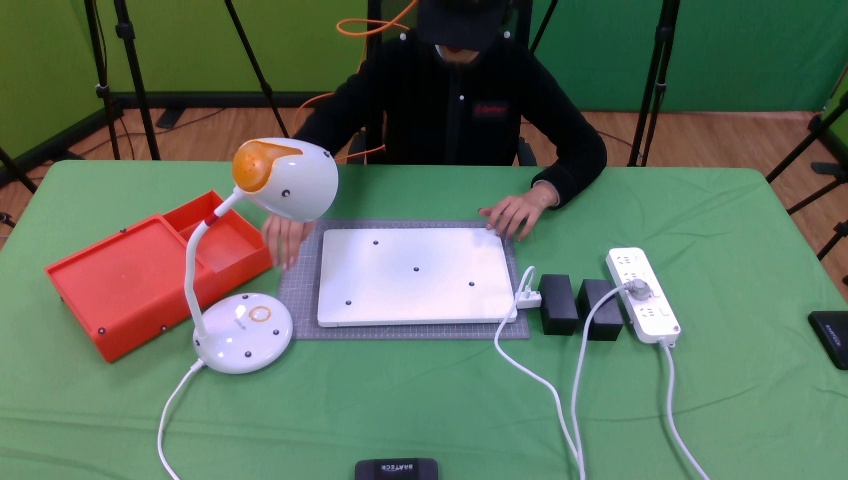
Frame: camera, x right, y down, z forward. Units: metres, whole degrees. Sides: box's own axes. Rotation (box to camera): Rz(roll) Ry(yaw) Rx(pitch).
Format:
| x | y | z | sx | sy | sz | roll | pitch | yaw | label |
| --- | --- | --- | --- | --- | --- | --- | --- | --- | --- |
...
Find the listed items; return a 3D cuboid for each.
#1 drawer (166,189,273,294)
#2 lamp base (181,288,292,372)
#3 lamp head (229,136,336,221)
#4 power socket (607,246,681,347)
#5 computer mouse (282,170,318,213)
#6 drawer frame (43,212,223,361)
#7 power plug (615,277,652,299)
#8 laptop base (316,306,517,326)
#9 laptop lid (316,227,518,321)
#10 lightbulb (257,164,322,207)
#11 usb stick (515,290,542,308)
| x | y | z | sx | sy | sz | roll | pitch | yaw | label |
| --- | --- | --- | --- | --- | --- | --- | --- | --- | --- |
| -0.419 | 0.021 | 1.108 | 0.193 | 0.073 | 0.211 | 37 | 55 | 27 | drawer |
| -0.309 | 0.108 | 0.959 | 0.160 | 0.181 | 0.179 | 30 | 55 | 22 | lamp base |
| -0.196 | -0.085 | 0.791 | 0.112 | 0.112 | 0.123 | 36 | 14 | 27 | lamp head |
| 0.403 | 0.096 | 1.123 | 0.072 | 0.033 | 0.225 | -3 | 47 | -5 | power socket |
| -0.260 | -0.106 | 1.273 | 0.063 | 0.041 | 0.116 | 3 | 49 | -3 | computer mouse |
| -0.497 | 0.073 | 1.049 | 0.213 | 0.083 | 0.200 | -34 | 57 | -31 | drawer frame |
| 0.375 | 0.088 | 1.097 | 0.072 | 0.053 | 0.035 | 5 | 46 | 2 | power plug |
| -0.017 | 0.066 | 1.133 | 0.355 | 0.023 | 0.234 | -1 | 42 | -5 | laptop base |
| -0.016 | 0.057 | 1.126 | 0.357 | 0.013 | 0.240 | 0 | 44 | -4 | laptop lid |
| -0.181 | -0.077 | 0.810 | 0.059 | 0.059 | 0.108 | 36 | 11 | 27 | lightbulb |
| 0.181 | 0.107 | 1.089 | 0.059 | 0.027 | 0.021 | -6 | 47 | -4 | usb stick |
